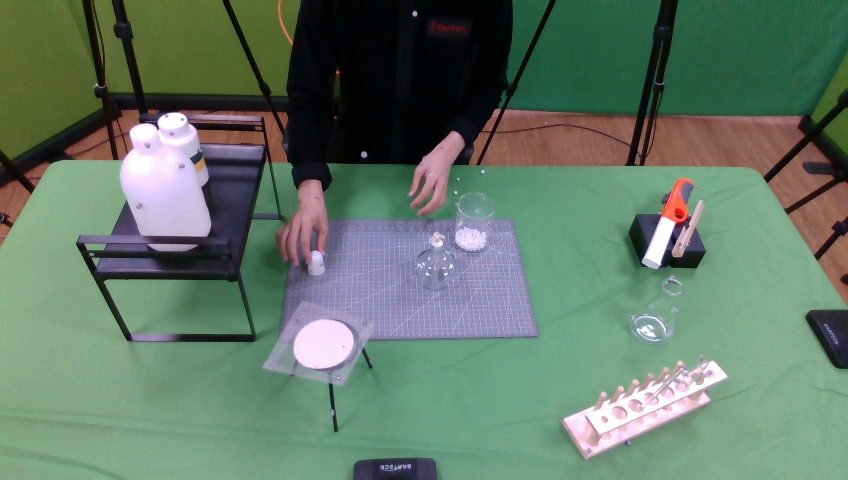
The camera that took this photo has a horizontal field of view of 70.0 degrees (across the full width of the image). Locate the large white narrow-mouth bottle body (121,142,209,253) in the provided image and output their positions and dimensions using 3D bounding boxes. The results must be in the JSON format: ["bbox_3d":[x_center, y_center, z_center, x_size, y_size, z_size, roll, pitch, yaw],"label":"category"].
[{"bbox_3d":[-0.378,-0.077,0.875,0.102,0.195,0.101,3,46,-3],"label":"large white narrow-mouth bottle body"}]

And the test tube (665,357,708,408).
[{"bbox_3d":[0.387,0.216,0.905,0.017,0.151,0.017,1,52,-1],"label":"test tube"}]

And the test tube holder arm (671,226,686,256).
[{"bbox_3d":[0.494,0.001,1.167,0.010,0.015,0.087,1,36,42],"label":"test tube holder arm"}]

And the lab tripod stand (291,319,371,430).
[{"bbox_3d":[-0.146,0.193,0.923,0.148,0.132,0.147,1,47,-1],"label":"lab tripod stand"}]

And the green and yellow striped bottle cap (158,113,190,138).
[{"bbox_3d":[-0.393,-0.180,0.951,0.045,0.020,0.045,2,44,-2],"label":"green and yellow striped bottle cap"}]

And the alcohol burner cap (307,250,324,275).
[{"bbox_3d":[-0.203,0.040,1.125,0.034,0.048,0.033,3,47,-2],"label":"alcohol burner cap"}]

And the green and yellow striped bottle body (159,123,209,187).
[{"bbox_3d":[-0.395,-0.145,0.989,0.063,0.120,0.063,2,46,-2],"label":"green and yellow striped bottle body"}]

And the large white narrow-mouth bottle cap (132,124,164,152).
[{"bbox_3d":[-0.370,-0.138,0.812,0.038,0.024,0.037,3,46,-3],"label":"large white narrow-mouth bottle cap"}]

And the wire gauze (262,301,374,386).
[{"bbox_3d":[-0.150,0.148,0.873,0.121,0.011,0.124,14,46,12],"label":"wire gauze"}]

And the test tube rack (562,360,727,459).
[{"bbox_3d":[0.341,0.247,0.940,0.243,0.085,0.066,-16,49,-19],"label":"test tube rack"}]

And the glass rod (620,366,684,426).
[{"bbox_3d":[0.322,0.227,0.866,0.008,0.200,0.008,5,52,-7],"label":"glass rod"}]

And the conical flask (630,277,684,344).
[{"bbox_3d":[0.408,0.117,1.045,0.075,0.122,0.075,2,46,-2],"label":"conical flask"}]

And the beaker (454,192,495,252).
[{"bbox_3d":[0.097,-0.034,1.180,0.074,0.101,0.084,23,48,17],"label":"beaker"}]

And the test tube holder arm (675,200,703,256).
[{"bbox_3d":[0.523,-0.025,1.190,0.013,0.015,0.178,1,36,42],"label":"test tube holder arm"}]

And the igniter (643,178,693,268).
[{"bbox_3d":[0.488,-0.042,1.205,0.057,0.025,0.276,30,51,11],"label":"igniter"}]

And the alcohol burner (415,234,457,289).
[{"bbox_3d":[0.022,0.033,1.100,0.078,0.120,0.077,1,47,0],"label":"alcohol burner"}]
